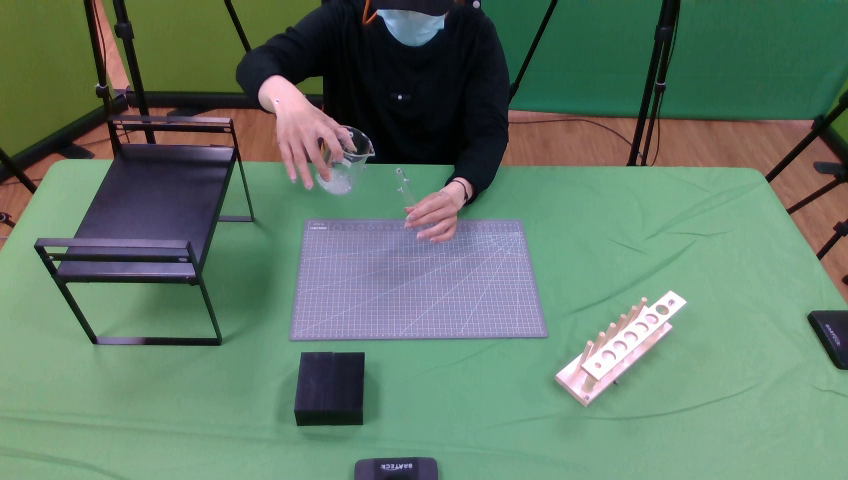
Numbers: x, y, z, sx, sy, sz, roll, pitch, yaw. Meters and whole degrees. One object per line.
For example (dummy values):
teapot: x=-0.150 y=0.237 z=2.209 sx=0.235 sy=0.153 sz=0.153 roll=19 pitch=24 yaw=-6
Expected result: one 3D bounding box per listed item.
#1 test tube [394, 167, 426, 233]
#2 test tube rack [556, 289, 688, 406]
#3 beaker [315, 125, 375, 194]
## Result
test tube: x=-0.023 y=-0.069 z=1.094 sx=0.017 sy=0.151 sz=0.017 roll=-13 pitch=40 yaw=11
test tube rack: x=0.332 y=0.166 z=1.014 sx=0.242 sy=0.085 sz=0.066 roll=-30 pitch=55 yaw=-28
beaker: x=-0.137 y=-0.133 z=1.031 sx=0.084 sy=0.100 sz=0.073 roll=24 pitch=42 yaw=-12
